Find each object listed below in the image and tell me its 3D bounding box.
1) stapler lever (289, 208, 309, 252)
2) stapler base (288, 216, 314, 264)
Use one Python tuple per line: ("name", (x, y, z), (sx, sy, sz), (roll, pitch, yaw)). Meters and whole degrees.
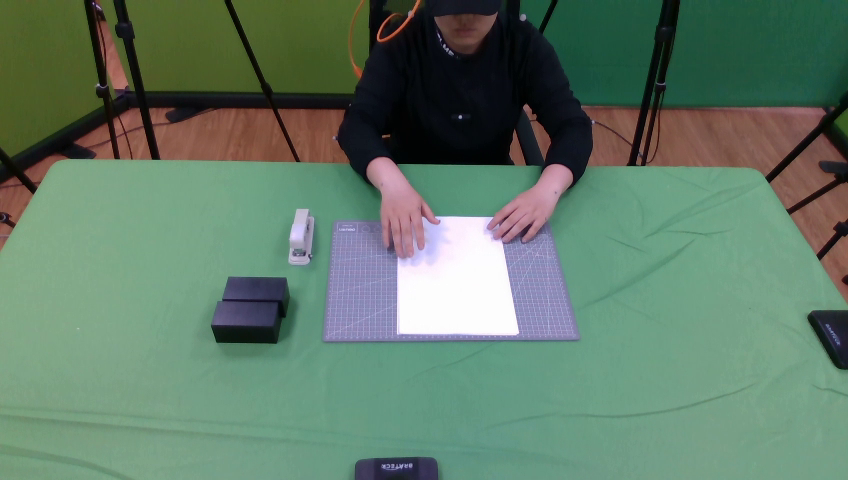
("stapler lever", (-0.240, -0.026, 1.168), (0.027, 0.040, 0.117), (1, 44, -6))
("stapler base", (-0.241, -0.007, 1.185), (0.041, 0.024, 0.129), (1, 44, -6))
